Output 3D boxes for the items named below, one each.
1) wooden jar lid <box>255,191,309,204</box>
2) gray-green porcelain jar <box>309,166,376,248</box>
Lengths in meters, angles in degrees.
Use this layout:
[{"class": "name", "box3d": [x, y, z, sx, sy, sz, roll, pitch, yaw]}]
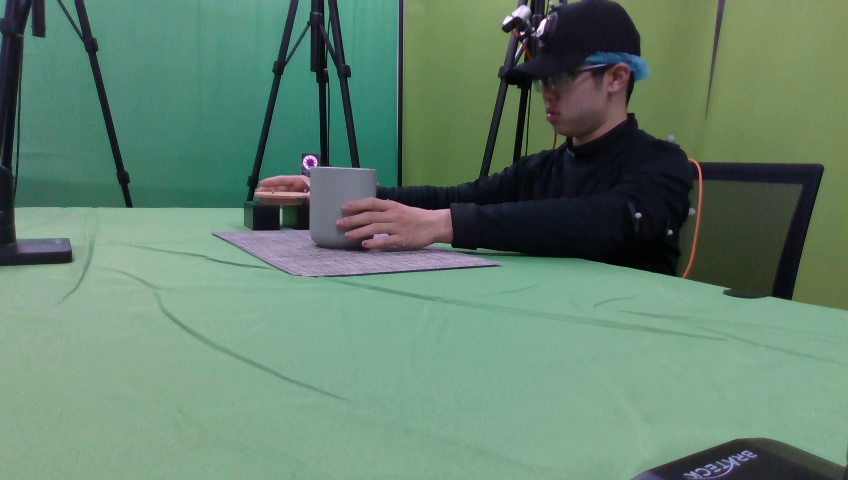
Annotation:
[{"class": "wooden jar lid", "box3d": [-0.287, -0.087, 1.223, 0.108, 0.020, 0.108, 3, 8, 0]}, {"class": "gray-green porcelain jar", "box3d": [-0.130, -0.054, 0.966, 0.106, 0.126, 0.106, 2, 8, 0]}]
